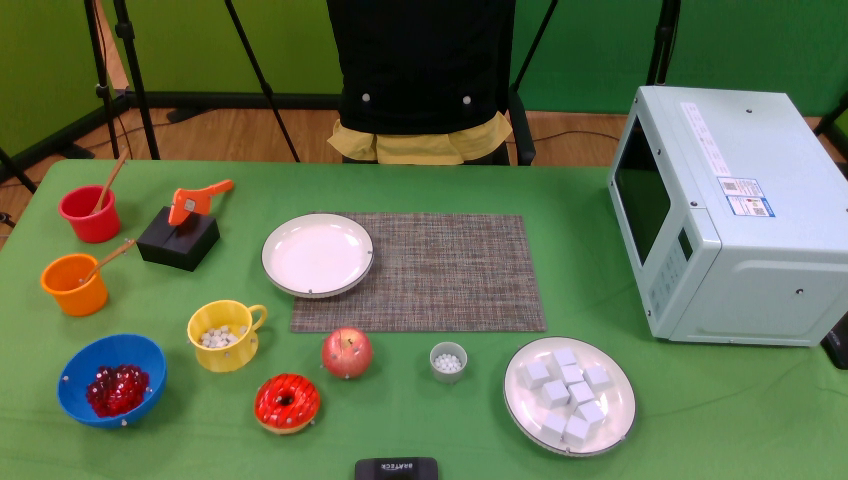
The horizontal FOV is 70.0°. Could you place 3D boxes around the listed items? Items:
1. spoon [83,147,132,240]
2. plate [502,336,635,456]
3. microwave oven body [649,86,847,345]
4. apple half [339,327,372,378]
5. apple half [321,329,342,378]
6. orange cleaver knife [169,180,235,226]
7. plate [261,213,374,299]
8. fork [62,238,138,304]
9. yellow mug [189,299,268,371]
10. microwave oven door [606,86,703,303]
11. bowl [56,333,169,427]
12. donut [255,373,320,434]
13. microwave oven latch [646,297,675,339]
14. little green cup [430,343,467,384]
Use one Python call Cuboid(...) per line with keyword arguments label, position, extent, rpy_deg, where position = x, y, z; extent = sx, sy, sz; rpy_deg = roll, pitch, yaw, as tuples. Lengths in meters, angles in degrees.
Cuboid(label="spoon", position=(-0.602, -0.089, 1.157), extent=(0.041, 0.022, 0.194), rpy_deg=(27, 95, 20))
Cuboid(label="plate", position=(0.225, 0.248, 0.963), extent=(0.208, 0.039, 0.206), rpy_deg=(2, 46, -2))
Cuboid(label="microwave oven body", position=(0.567, -0.053, 1.118), extent=(0.326, 0.261, 0.439), rpy_deg=(2, 45, -1))
Cuboid(label="apple half", position=(-0.111, 0.182, 0.980), extent=(0.053, 0.075, 0.080), rpy_deg=(-2, 42, -12))
Cuboid(label="apple half", position=(-0.149, 0.186, 0.972), extent=(0.033, 0.081, 0.080), rpy_deg=(-2, 46, -12))
Cuboid(label="orange cleaver knife", position=(-0.436, -0.076, 1.199), extent=(0.012, 0.077, 0.211), rpy_deg=(17, 17, 9))
Cuboid(label="plate", position=(-0.198, 0.032, 1.137), extent=(0.209, 0.038, 0.208), rpy_deg=(2, 46, -2))
Cuboid(label="fork", position=(-0.547, 0.053, 1.018), extent=(0.207, 0.019, 0.028), rpy_deg=(-36, 41, 23))
Cuboid(label="yellow mug", position=(-0.316, 0.148, 1.002), extent=(0.131, 0.064, 0.099), rpy_deg=(-33, 56, -31))
Cuboid(label="microwave oven door", position=(0.423, -0.094, 1.140), extent=(0.039, 0.245, 0.353), rpy_deg=(2, 46, -1))
Cuboid(label="bowl", position=(-0.456, 0.223, 0.911), extent=(0.151, 0.077, 0.150), rpy_deg=(3, 45, -2))
Cuboid(label="donut", position=(-0.209, 0.249, 0.928), extent=(0.099, 0.048, 0.098), rpy_deg=(3, 43, -3))
Cuboid(label="microwave oven latch", position=(0.412, 0.134, 1.060), extent=(0.030, 0.029, 0.078), rpy_deg=(4, 45, 1))
Cuboid(label="little green cup", position=(0.039, 0.203, 0.994), extent=(0.061, 0.039, 0.061), rpy_deg=(2, 46, -2))
